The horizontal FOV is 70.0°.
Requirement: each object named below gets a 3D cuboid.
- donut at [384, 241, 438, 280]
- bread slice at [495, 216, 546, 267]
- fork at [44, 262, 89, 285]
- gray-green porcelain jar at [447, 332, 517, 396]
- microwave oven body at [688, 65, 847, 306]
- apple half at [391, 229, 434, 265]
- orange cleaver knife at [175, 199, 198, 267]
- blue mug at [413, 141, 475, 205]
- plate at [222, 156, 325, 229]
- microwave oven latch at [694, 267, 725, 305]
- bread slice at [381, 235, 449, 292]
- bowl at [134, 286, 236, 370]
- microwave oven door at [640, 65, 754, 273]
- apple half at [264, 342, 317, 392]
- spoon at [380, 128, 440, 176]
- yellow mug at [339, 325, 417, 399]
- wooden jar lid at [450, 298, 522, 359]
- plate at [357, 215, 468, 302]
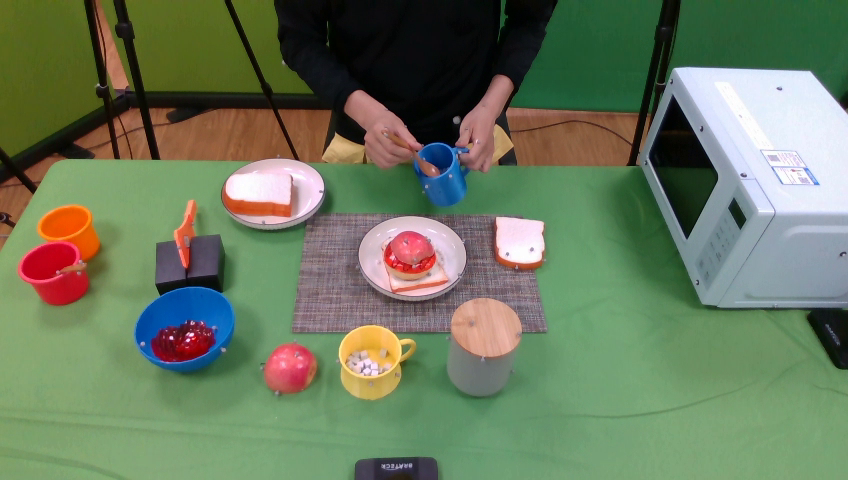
[{"bbox_3d":[-0.025,0.029,1.109,0.099,0.048,0.098,2,46,-2],"label":"donut"},{"bbox_3d":[0.194,0.002,1.204,0.105,0.019,0.131,5,45,2],"label":"bread slice"},{"bbox_3d":[-0.598,0.054,1.014,0.207,0.019,0.028,-15,28,45],"label":"fork"},{"bbox_3d":[0.091,0.178,0.960,0.106,0.127,0.105,2,46,-2],"label":"gray-green porcelain jar"},{"bbox_3d":[0.669,-0.111,1.176,0.326,0.261,0.439,0,46,-3],"label":"microwave oven body"},{"bbox_3d":[-0.021,0.003,1.085,0.081,0.033,0.081,7,45,-7],"label":"apple half"},{"bbox_3d":[-0.438,-0.017,1.138,0.012,0.077,0.210,-14,27,-7],"label":"orange cleaver knife"},{"bbox_3d":[0.047,-0.136,1.163,0.116,0.106,0.082,-33,60,-1],"label":"blue mug"},{"bbox_3d":[-0.308,-0.095,1.251,0.209,0.038,0.208,2,46,-2],"label":"plate"},{"bbox_3d":[0.523,0.082,1.115,0.030,0.029,0.078,3,46,0],"label":"microwave oven latch"},{"bbox_3d":[-0.026,0.039,1.140,0.107,0.018,0.133,-12,47,-16],"label":"bread slice"},{"bbox_3d":[-0.377,0.155,0.981,0.151,0.077,0.150,2,46,-2],"label":"bowl"},{"bbox_3d":[0.523,-0.147,1.193,0.039,0.245,0.353,0,47,-3],"label":"microwave oven door"},{"bbox_3d":[-0.214,0.198,0.970,0.074,0.053,0.080,19,48,10],"label":"apple half"},{"bbox_3d":[-0.022,-0.154,1.052,0.021,0.195,0.041,-33,61,14],"label":"spoon"},{"bbox_3d":[-0.072,0.190,0.978,0.131,0.064,0.099,-17,50,-20],"label":"yellow mug"},{"bbox_3d":[0.093,0.135,0.914,0.108,0.021,0.107,2,48,-3],"label":"wooden jar lid"},{"bbox_3d":[-0.022,0.037,1.141,0.208,0.039,0.206,2,46,-2],"label":"plate"}]
